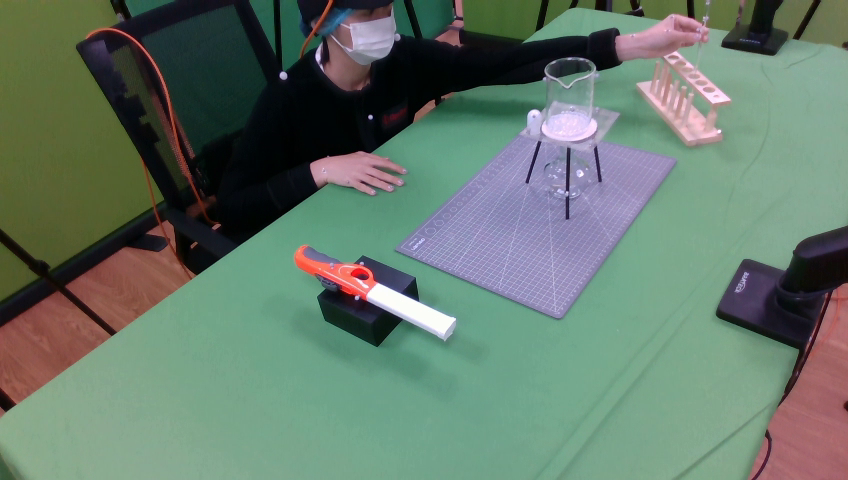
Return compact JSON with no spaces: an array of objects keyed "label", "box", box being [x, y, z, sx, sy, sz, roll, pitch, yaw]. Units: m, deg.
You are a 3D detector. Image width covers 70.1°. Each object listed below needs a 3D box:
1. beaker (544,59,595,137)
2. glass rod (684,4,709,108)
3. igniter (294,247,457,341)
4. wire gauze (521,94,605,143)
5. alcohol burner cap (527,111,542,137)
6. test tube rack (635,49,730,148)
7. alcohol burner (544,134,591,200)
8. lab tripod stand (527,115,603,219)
[{"label":"beaker","box":[0.222,-0.214,0.926,0.074,0.101,0.084,3,42,16]},{"label":"glass rod","box":[0.508,-0.338,1.131,0.008,0.200,0.008,-3,36,2]},{"label":"igniter","box":[-0.077,0.068,0.831,0.274,0.025,0.057,22,48,27]},{"label":"wire gauze","box":[0.220,-0.190,0.949,0.121,0.011,0.125,7,46,14]},{"label":"alcohol burner cap","box":[0.221,-0.233,1.200,0.034,0.048,0.033,-6,41,6]},{"label":"test tube rack","box":[0.497,-0.283,1.184,0.067,0.085,0.240,-10,40,-2]},{"label":"alcohol burner","box":[0.241,-0.127,1.014,0.078,0.119,0.077,-5,41,5]},{"label":"lab tripod stand","box":[0.235,-0.129,1.002,0.148,0.132,0.147,-6,40,6]}]
